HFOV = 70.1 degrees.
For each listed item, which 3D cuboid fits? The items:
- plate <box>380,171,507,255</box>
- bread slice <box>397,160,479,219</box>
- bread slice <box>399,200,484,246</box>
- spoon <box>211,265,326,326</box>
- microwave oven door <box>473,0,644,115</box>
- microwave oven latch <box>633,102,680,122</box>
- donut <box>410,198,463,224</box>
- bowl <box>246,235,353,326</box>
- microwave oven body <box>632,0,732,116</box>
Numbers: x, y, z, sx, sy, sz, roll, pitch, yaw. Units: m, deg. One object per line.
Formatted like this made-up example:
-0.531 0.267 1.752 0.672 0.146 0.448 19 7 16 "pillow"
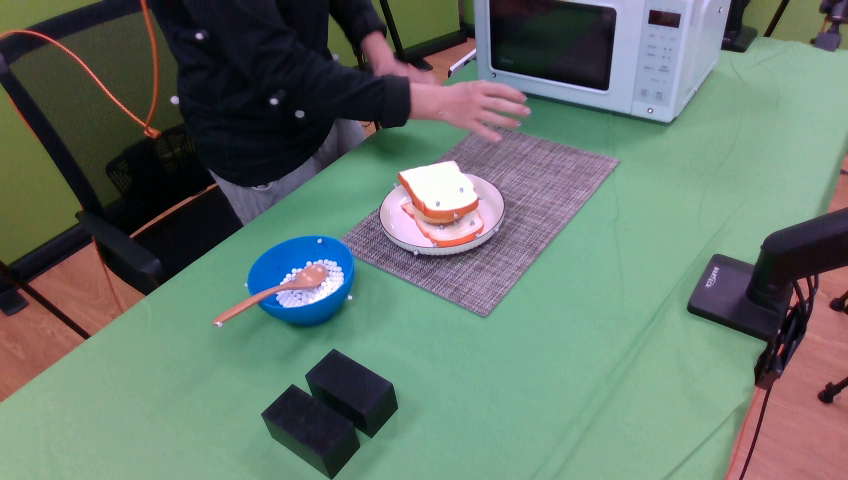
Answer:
0.033 -0.042 0.996 0.207 0.039 0.206 -4 40 4 "plate"
0.028 -0.081 0.952 0.105 0.019 0.130 -14 44 -18 "bread slice"
0.036 -0.038 0.990 0.107 0.018 0.133 -23 44 -18 "bread slice"
-0.208 0.072 0.822 0.041 0.021 0.195 26 29 27 "spoon"
0.257 -0.396 1.199 0.353 0.245 0.039 21 48 29 "microwave oven door"
0.443 -0.249 1.157 0.078 0.029 0.030 21 49 30 "microwave oven latch"
0.027 -0.063 0.978 0.099 0.048 0.098 -4 39 3 "donut"
-0.170 0.070 0.868 0.151 0.077 0.150 -4 41 4 "bowl"
0.377 -0.462 1.267 0.438 0.261 0.327 21 48 30 "microwave oven body"
